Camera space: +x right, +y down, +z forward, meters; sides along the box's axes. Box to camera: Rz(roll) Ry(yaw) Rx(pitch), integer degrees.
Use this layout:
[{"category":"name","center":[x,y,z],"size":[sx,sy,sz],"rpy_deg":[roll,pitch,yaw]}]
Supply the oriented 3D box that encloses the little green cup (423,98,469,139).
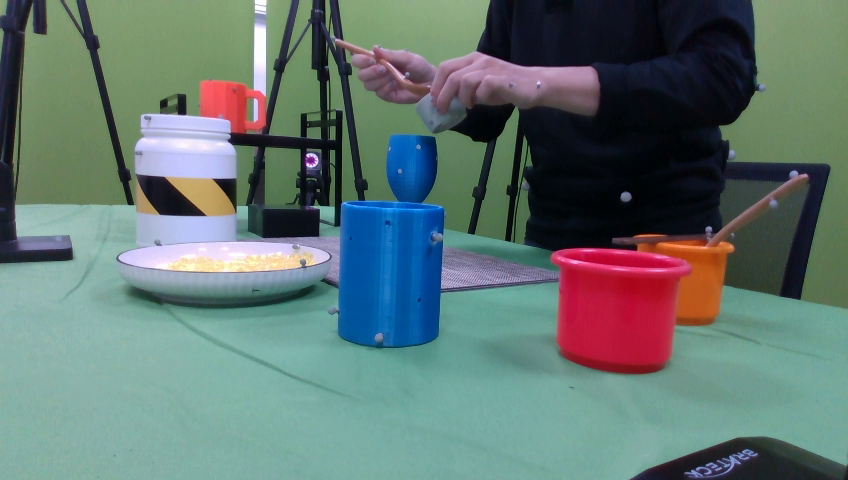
[{"category":"little green cup","center":[0.027,-0.155,0.779],"size":[0.061,0.038,0.061],"rpy_deg":[5,-6,1]}]

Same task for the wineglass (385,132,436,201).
[{"category":"wineglass","center":[-0.020,-0.061,0.838],"size":[0.074,0.172,0.073],"rpy_deg":[2,7,0]}]

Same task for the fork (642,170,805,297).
[{"category":"fork","center":[0.261,0.004,0.545],"size":[0.028,0.018,0.207],"rpy_deg":[5,-37,-16]}]

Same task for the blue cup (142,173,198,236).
[{"category":"blue cup","center":[-0.425,-0.060,1.014],"size":[0.093,0.100,0.092],"rpy_deg":[4,9,0]}]

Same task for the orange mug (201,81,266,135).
[{"category":"orange mug","center":[-0.377,-0.260,1.198],"size":[0.126,0.101,0.083],"rpy_deg":[-3,8,-6]}]

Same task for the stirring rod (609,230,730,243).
[{"category":"stirring rod","center":[0.241,-0.004,0.582],"size":[0.177,0.006,0.014],"rpy_deg":[-4,10,-33]}]

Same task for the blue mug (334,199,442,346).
[{"category":"blue mug","center":[-0.034,0.020,0.498],"size":[0.083,0.106,0.116],"rpy_deg":[0,7,-20]}]

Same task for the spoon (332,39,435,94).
[{"category":"spoon","center":[-0.060,-0.241,0.832],"size":[0.193,0.021,0.042],"rpy_deg":[38,20,28]}]

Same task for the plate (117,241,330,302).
[{"category":"plate","center":[-0.203,0.031,0.630],"size":[0.209,0.038,0.209],"rpy_deg":[3,7,0]}]

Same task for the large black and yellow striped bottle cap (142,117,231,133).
[{"category":"large black and yellow striped bottle cap","center":[-0.328,-0.159,0.839],"size":[0.115,0.019,0.115],"rpy_deg":[1,9,0]}]

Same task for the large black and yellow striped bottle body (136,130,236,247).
[{"category":"large black and yellow striped bottle body","center":[-0.332,-0.076,0.851],"size":[0.131,0.184,0.130],"rpy_deg":[3,8,0]}]
